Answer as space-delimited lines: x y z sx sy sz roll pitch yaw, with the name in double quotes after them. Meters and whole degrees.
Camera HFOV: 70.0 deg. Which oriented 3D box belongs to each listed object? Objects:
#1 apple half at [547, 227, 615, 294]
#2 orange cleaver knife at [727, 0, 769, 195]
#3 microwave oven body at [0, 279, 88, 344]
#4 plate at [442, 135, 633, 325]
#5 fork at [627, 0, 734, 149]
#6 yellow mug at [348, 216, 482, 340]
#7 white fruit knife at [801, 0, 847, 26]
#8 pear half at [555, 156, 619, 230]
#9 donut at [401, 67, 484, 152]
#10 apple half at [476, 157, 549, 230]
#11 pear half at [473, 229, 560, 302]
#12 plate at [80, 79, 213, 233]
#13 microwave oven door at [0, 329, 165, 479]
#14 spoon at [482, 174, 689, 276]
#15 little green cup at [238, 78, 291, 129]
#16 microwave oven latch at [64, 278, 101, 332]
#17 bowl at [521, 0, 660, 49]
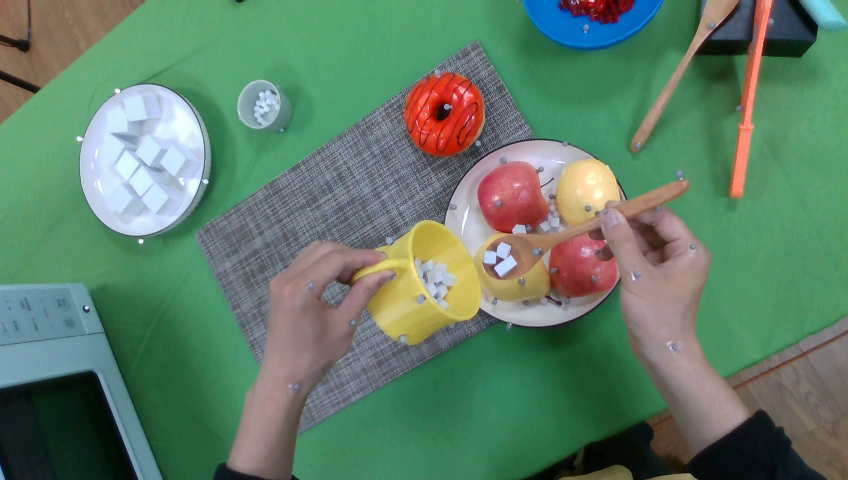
0.160 0.022 0.646 0.081 0.033 0.081 6 101 36 "apple half"
0.321 -0.151 0.600 0.012 0.077 0.213 7 116 22 "orange cleaver knife"
-0.555 0.313 0.753 0.326 0.261 0.440 -28 82 13 "microwave oven body"
0.124 -0.011 0.675 0.208 0.038 0.209 -1 89 16 "plate"
0.263 -0.184 0.616 0.028 0.018 0.208 28 117 7 "fork"
-0.012 0.034 0.550 0.064 0.132 0.099 -31 64 33 "yellow mug"
0.338 -0.289 0.582 0.027 0.016 0.206 -25 79 -15 "white fruit knife"
0.169 -0.045 0.648 0.070 0.031 0.088 2 99 40 "pear half"
0.021 -0.151 0.705 0.098 0.048 0.099 0 91 19 "donut"
0.095 -0.051 0.666 0.074 0.053 0.080 -13 87 16 "apple half"
0.104 0.036 0.666 0.109 0.056 0.076 33 102 10 "pear half"
-0.374 -0.112 0.829 0.207 0.039 0.207 0 89 17 "plate"
-0.413 0.283 0.707 0.039 0.245 0.354 -29 81 14 "microwave oven door"
0.128 -0.011 0.510 0.193 0.022 0.041 -25 90 40 "spoon"
-0.202 -0.172 0.779 0.061 0.039 0.061 -1 88 17 "little green cup"
-0.478 0.091 0.836 0.030 0.029 0.079 -26 82 14 "microwave oven latch"
0.180 -0.270 0.647 0.151 0.077 0.151 0 89 16 "bowl"
